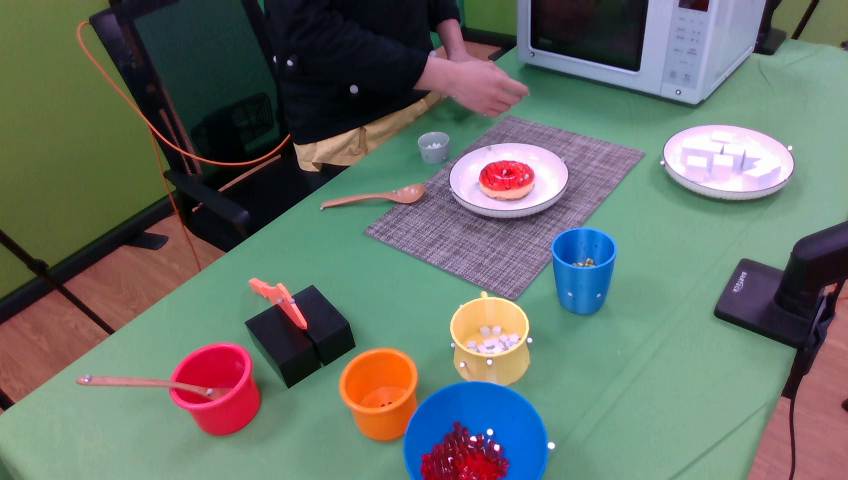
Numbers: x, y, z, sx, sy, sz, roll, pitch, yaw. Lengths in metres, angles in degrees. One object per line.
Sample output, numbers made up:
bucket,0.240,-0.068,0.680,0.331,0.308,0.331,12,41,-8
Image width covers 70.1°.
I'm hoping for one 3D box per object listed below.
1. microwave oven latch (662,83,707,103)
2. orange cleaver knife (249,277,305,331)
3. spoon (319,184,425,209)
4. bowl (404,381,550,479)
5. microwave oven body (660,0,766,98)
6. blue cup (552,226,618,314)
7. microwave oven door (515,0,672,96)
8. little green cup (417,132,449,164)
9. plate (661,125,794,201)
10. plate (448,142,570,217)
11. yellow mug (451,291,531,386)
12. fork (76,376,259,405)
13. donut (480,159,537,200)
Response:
microwave oven latch,0.517,-0.296,1.204,0.078,0.029,0.030,27,52,35
orange cleaver knife,-0.210,0.088,0.856,0.012,0.077,0.210,-28,15,-25
spoon,-0.094,-0.075,1.074,0.193,0.022,0.041,-5,57,5
bowl,0.058,0.235,0.645,0.151,0.077,0.150,-4,39,4
microwave oven body,0.473,-0.513,1.317,0.438,0.261,0.327,26,51,34
blue cup,0.218,0.047,0.825,0.092,0.100,0.092,-6,40,5
microwave oven door,0.344,-0.455,1.259,0.353,0.245,0.039,26,51,33
little green cup,0.019,-0.178,1.168,0.061,0.039,0.061,-3,41,3
plate,0.513,-0.128,1.035,0.207,0.039,0.206,-4,40,4
plate,0.148,-0.101,1.053,0.209,0.038,0.208,-4,40,4
yellow mug,0.085,0.120,0.786,0.100,0.064,0.130,-7,39,1
fork,-0.295,0.176,0.716,0.209,0.018,0.028,19,26,-36
donut,0.145,-0.106,1.042,0.099,0.048,0.098,-4,38,4
